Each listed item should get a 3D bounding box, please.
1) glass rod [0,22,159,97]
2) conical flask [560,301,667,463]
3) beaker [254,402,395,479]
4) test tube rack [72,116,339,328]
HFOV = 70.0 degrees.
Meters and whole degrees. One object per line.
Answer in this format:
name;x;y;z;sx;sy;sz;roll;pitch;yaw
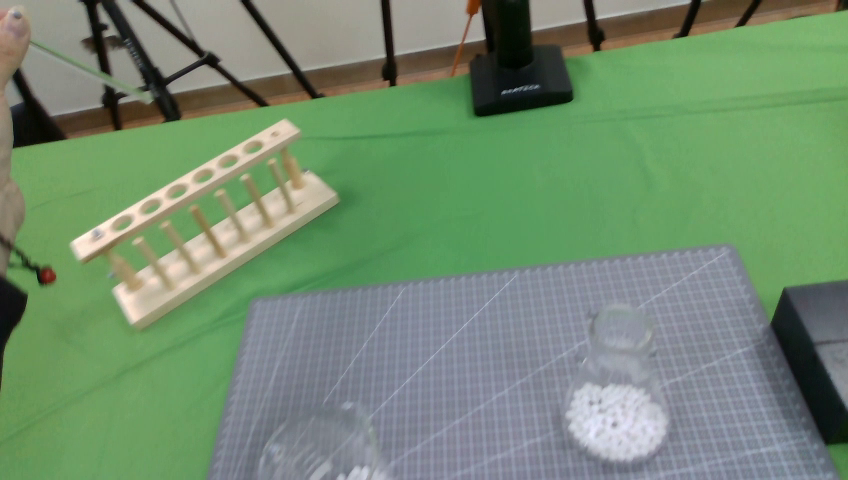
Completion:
glass rod;-0.249;-0.127;0.392;0.008;0.201;0.008;-2;83;21
conical flask;0.127;0.091;0.403;0.075;0.123;0.074;-7;47;8
beaker;-0.055;0.163;0.399;0.073;0.101;0.083;18;54;27
test tube rack;-0.215;-0.023;0.625;0.242;0.086;0.066;-36;49;-18
